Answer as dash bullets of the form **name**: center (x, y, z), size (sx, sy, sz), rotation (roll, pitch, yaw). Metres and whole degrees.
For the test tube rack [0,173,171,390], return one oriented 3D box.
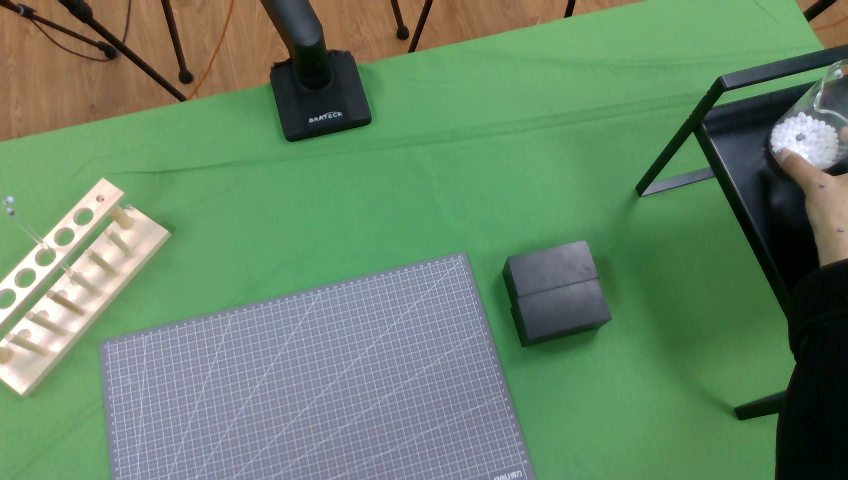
- **test tube rack**: center (-0.412, 0.047, 0.694), size (0.066, 0.086, 0.241), rotation (33, 72, 11)

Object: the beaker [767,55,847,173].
- **beaker**: center (0.387, -0.115, 0.584), size (0.084, 0.101, 0.073), rotation (-16, 70, -7)

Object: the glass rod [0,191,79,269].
- **glass rod**: center (-0.412, -0.009, 0.646), size (0.008, 0.201, 0.008), rotation (2, 61, -3)
